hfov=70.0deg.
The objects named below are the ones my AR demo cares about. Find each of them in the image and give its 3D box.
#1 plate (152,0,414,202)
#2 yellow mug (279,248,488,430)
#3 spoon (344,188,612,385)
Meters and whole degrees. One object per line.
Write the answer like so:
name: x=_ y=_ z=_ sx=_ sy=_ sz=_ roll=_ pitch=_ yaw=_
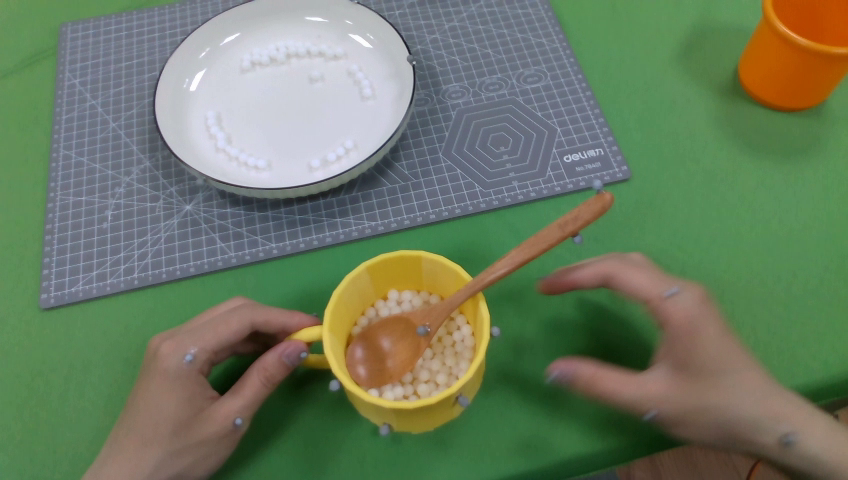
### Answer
plate: x=-0.110 y=-0.115 z=0.495 sx=0.207 sy=0.039 sz=0.206 roll=-1 pitch=61 yaw=2
yellow mug: x=-0.026 y=0.065 z=0.382 sx=0.131 sy=0.064 sz=0.099 roll=-6 pitch=61 yaw=0
spoon: x=0.029 y=0.029 z=0.363 sx=0.194 sy=0.022 sz=0.041 roll=-36 pitch=67 yaw=18
